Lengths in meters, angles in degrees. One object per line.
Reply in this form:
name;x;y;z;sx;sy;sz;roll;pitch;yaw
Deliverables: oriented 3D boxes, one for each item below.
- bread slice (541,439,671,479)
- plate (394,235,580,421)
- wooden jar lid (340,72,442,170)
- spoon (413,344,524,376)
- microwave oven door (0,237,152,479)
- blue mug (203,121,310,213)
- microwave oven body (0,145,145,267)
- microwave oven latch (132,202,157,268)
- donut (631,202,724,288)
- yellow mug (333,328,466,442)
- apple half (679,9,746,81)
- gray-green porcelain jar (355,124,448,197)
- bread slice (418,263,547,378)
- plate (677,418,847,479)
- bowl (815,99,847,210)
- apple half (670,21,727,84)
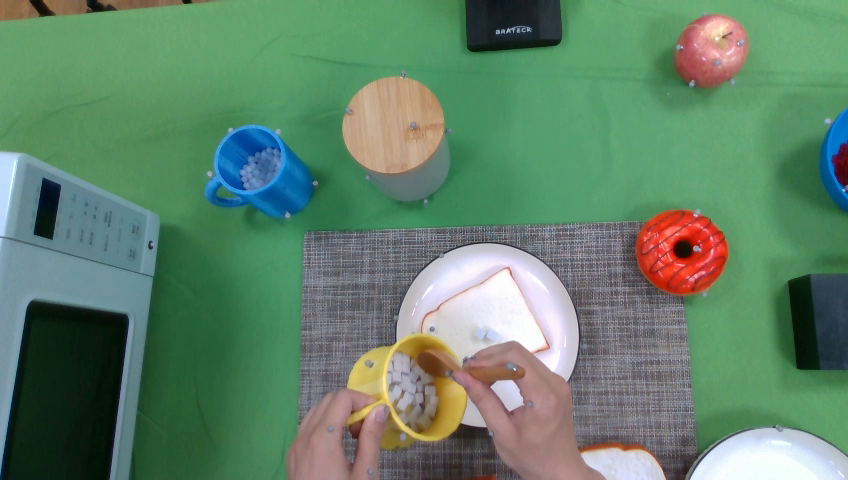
bread slice;0.196;0.266;0.627;0.135;0.018;0.106;-6;75;-15
plate;0.071;0.099;0.693;0.207;0.039;0.207;-1;80;6
wooden jar lid;-0.034;-0.123;0.639;0.108;0.021;0.108;-1;78;6
spoon;0.035;0.108;0.527;0.042;0.193;0.021;42;72;-12
microwave oven door;-0.371;0.190;0.603;0.039;0.245;0.354;1;79;6
blue mug;-0.205;-0.076;0.722;0.116;0.106;0.082;-27;78;1
microwave oven body;-0.513;0.146;0.631;0.326;0.261;0.440;1;80;6
microwave oven latch;-0.348;-0.006;0.740;0.030;0.029;0.079;3;81;6
donut;0.285;0.006;0.684;0.099;0.048;0.098;-1;81;6
yellow mug;-0.029;0.144;0.576;0.131;0.064;0.099;-17;81;-42
apple half;0.342;-0.232;0.710;0.053;0.075;0.080;-33;74;-6
gray-green porcelain jar;-0.027;-0.111;0.700;0.106;0.127;0.105;-1;79;6
bread slice;0.061;0.101;0.695;0.131;0.019;0.104;-28;78;-1
plate;0.363;0.291;0.631;0.209;0.038;0.208;-1;80;6
bowl;0.498;-0.085;0.665;0.151;0.077;0.151;-1;80;6
apple half;0.310;-0.209;0.708;0.033;0.081;0.081;-34;78;-6
